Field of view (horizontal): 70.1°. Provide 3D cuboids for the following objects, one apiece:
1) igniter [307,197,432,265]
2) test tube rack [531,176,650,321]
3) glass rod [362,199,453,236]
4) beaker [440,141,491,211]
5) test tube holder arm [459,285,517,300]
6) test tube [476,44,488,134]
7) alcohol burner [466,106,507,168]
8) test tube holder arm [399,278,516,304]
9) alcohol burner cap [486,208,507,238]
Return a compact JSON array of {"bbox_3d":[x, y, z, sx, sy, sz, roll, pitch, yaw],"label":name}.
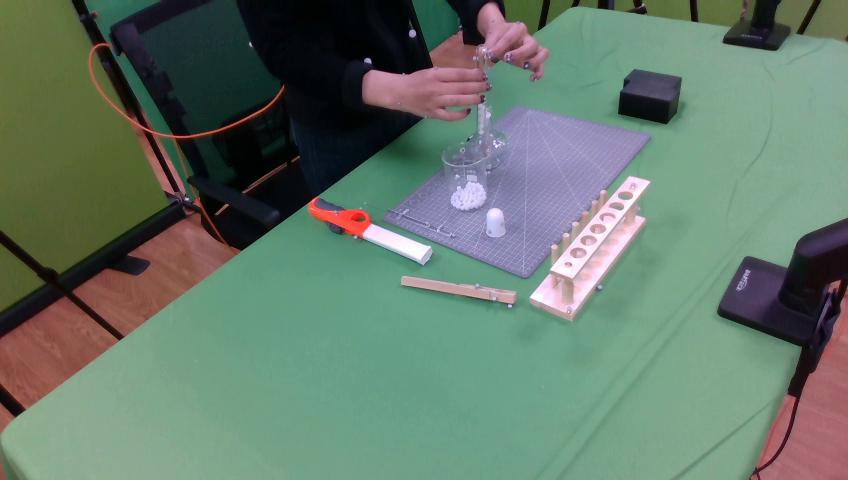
[{"bbox_3d":[-0.102,-0.020,1.019,0.274,0.025,0.057,23,60,32],"label":"igniter"},{"bbox_3d":[0.246,0.002,0.884,0.066,0.085,0.243,22,49,32],"label":"test tube rack"},{"bbox_3d":[-0.031,-0.041,1.041,0.198,0.008,0.008,22,50,31],"label":"glass rod"},{"bbox_3d":[0.074,-0.106,1.028,0.084,0.101,0.073,-2,41,8],"label":"beaker"},{"bbox_3d":[0.091,0.078,0.877,0.087,0.015,0.010,7,8,20],"label":"test tube holder arm"},{"bbox_3d":[0.092,-0.234,0.952,0.017,0.151,0.017,-2,41,2],"label":"test tube"},{"bbox_3d":[0.115,-0.193,1.112,0.078,0.119,0.077,-4,41,4],"label":"alcohol burner"},{"bbox_3d":[0.047,0.073,0.886,0.177,0.015,0.013,7,8,18],"label":"test tube holder arm"},{"bbox_3d":[0.116,-0.030,0.975,0.034,0.048,0.033,-6,40,5],"label":"alcohol burner cap"}]
